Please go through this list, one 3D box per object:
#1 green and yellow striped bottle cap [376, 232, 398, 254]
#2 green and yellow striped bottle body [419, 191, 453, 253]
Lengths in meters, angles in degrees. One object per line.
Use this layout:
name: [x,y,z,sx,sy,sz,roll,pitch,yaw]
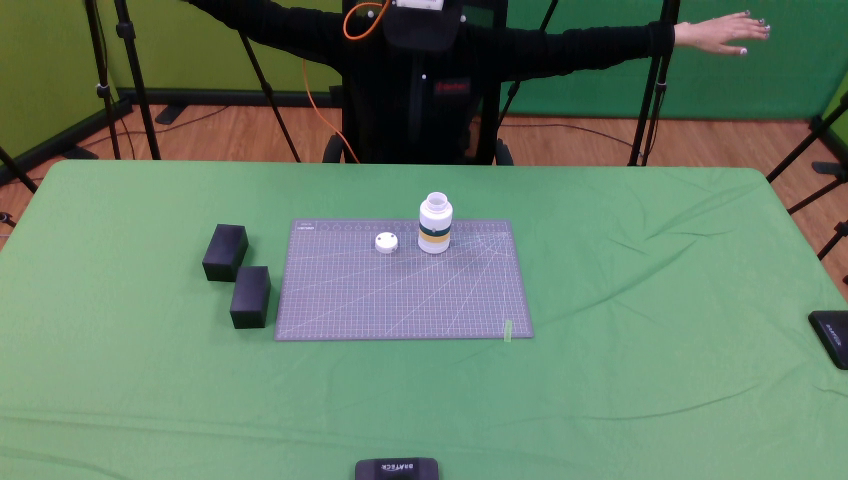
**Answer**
green and yellow striped bottle cap: [-0.073,0.006,1.187,0.045,0.020,0.045,2,44,-2]
green and yellow striped bottle body: [0.023,-0.036,1.160,0.063,0.120,0.063,2,46,-2]
